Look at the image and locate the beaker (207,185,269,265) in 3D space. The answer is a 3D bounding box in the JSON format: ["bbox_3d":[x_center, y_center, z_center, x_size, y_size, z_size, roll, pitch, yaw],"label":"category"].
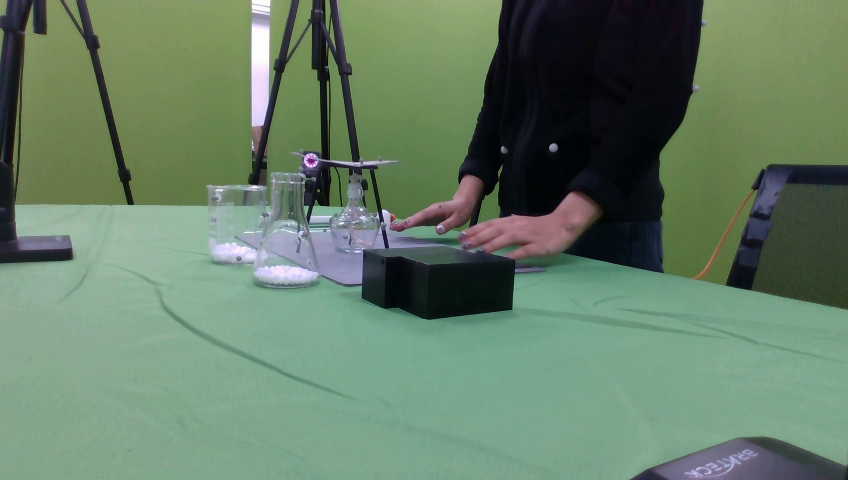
[{"bbox_3d":[-0.244,-0.021,0.784,0.083,0.100,0.074,6,8,30],"label":"beaker"}]

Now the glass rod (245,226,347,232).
[{"bbox_3d":[-0.237,-0.021,1.140,0.201,0.008,0.008,-2,8,-33],"label":"glass rod"}]

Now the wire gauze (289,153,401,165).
[{"bbox_3d":[-0.112,-0.116,0.883,0.124,0.011,0.122,7,8,27],"label":"wire gauze"}]

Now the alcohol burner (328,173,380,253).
[{"bbox_3d":[-0.104,-0.041,0.902,0.078,0.119,0.078,0,7,0],"label":"alcohol burner"}]

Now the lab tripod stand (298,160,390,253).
[{"bbox_3d":[-0.111,-0.050,0.893,0.148,0.131,0.148,4,6,0],"label":"lab tripod stand"}]

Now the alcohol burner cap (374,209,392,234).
[{"bbox_3d":[-0.078,-0.036,1.148,0.034,0.048,0.034,2,7,0],"label":"alcohol burner cap"}]

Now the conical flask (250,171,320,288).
[{"bbox_3d":[-0.150,-0.013,0.658,0.075,0.122,0.075,2,7,0],"label":"conical flask"}]

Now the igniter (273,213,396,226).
[{"bbox_3d":[-0.179,-0.044,1.258,0.278,0.025,0.057,-3,-2,-39],"label":"igniter"}]
